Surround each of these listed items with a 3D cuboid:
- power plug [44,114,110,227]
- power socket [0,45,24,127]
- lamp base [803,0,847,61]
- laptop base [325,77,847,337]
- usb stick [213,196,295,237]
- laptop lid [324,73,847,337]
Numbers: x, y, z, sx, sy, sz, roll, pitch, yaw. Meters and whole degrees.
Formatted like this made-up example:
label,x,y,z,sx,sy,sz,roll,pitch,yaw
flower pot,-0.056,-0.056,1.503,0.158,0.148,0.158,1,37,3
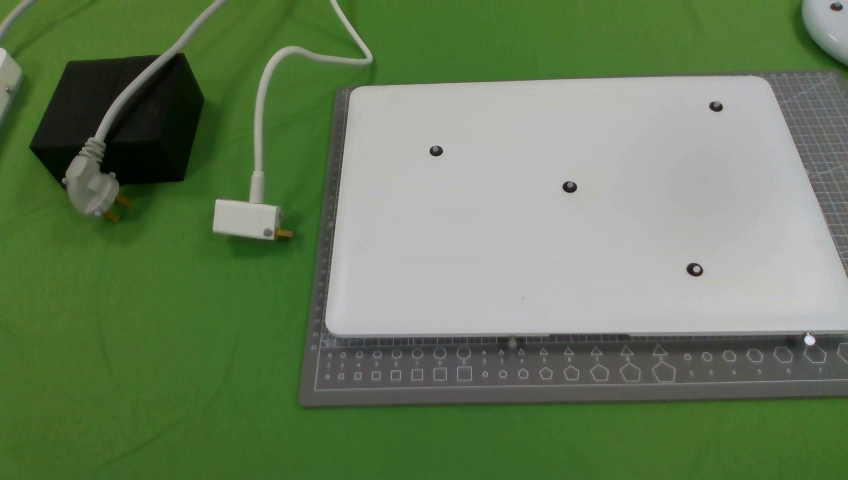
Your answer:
label,x,y,z,sx,sy,sz,roll,pitch,yaw
power plug,-0.265,-0.047,0.445,0.035,0.073,0.052,-1,42,42
power socket,-0.413,-0.089,0.519,0.072,0.033,0.224,-3,56,0
lamp base,0.438,-0.256,0.499,0.159,0.182,0.178,29,60,20
laptop base,0.110,-0.033,0.465,0.354,0.023,0.233,-1,60,2
usb stick,-0.126,-0.017,0.456,0.059,0.021,0.027,11,94,-4
laptop lid,0.109,-0.038,0.453,0.356,0.013,0.239,1,59,3
